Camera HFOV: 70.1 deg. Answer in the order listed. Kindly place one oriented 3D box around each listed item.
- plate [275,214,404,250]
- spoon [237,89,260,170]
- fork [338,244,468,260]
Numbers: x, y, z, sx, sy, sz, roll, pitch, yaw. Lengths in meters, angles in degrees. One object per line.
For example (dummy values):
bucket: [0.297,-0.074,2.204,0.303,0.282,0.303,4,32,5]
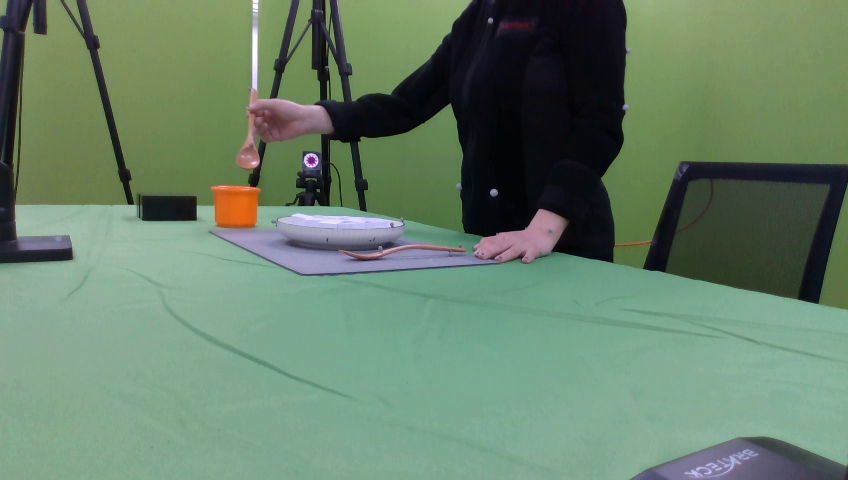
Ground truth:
plate: [-0.135,-0.013,0.982,0.208,0.039,0.207,3,7,0]
spoon: [-0.328,-0.214,1.153,0.042,0.193,0.021,3,-24,-10]
fork: [-0.024,0.016,0.865,0.208,0.018,0.028,-4,4,-31]
